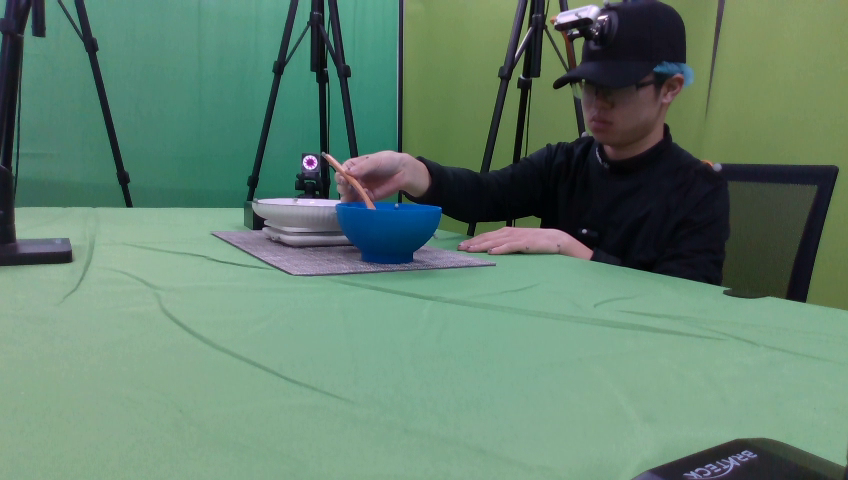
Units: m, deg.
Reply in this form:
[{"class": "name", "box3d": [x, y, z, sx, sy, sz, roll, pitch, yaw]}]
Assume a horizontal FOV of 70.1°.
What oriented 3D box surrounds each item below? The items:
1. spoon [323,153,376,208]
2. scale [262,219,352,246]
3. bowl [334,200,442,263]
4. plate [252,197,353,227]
[{"class": "spoon", "box3d": [-0.091, -0.066, 0.871, 0.042, 0.021, 0.193, 4, 42, -54]}, {"class": "scale", "box3d": [-0.160, -0.015, 1.028, 0.202, 0.031, 0.148, -2, 8, -32]}, {"class": "bowl", "box3d": [-0.051, -0.012, 0.849, 0.151, 0.077, 0.151, 2, 8, 0]}, {"class": "plate", "box3d": [-0.179, -0.047, 1.012, 0.209, 0.038, 0.209, 2, 6, 0]}]
